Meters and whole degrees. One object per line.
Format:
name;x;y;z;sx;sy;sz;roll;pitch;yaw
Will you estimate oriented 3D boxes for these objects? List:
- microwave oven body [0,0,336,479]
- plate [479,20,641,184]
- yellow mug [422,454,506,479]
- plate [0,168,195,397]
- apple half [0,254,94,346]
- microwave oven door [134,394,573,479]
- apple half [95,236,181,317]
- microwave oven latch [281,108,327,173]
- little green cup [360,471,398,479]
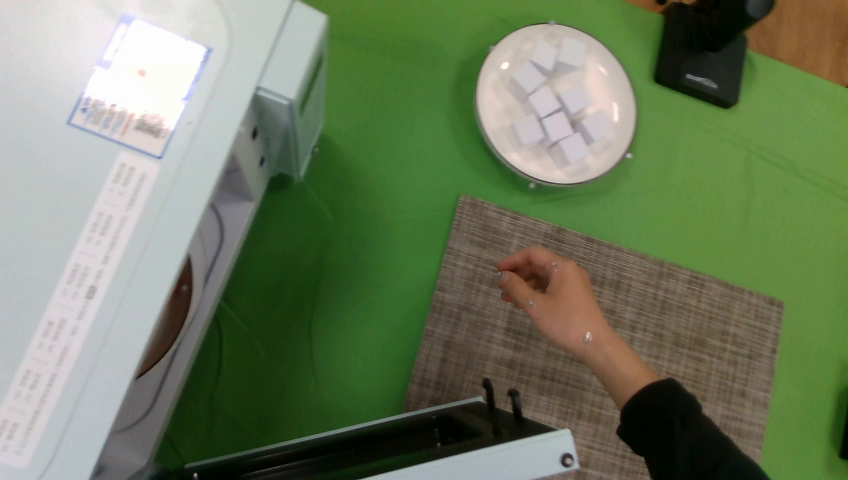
microwave oven body;-0.310;-0.022;0.519;0.327;0.260;0.440;21;79;-8
plate;0.166;-0.168;0.753;0.208;0.039;0.207;2;81;-11
yellow mug;0.039;0.300;0.644;0.100;0.064;0.130;29;80;-5
plate;-0.321;0.039;0.563;0.210;0.038;0.208;2;81;-11
apple half;-0.343;0.056;0.535;0.081;0.053;0.074;33;89;-18
microwave oven door;-0.081;0.199;0.527;0.357;0.244;0.039;-10;83;-12
apple half;-0.273;0.034;0.567;0.081;0.033;0.081;1;80;-8
microwave oven latch;-0.132;-0.116;0.668;0.030;0.029;0.079;23;79;-7
little green cup;-0.049;0.277;0.644;0.062;0.038;0.061;2;80;-10
